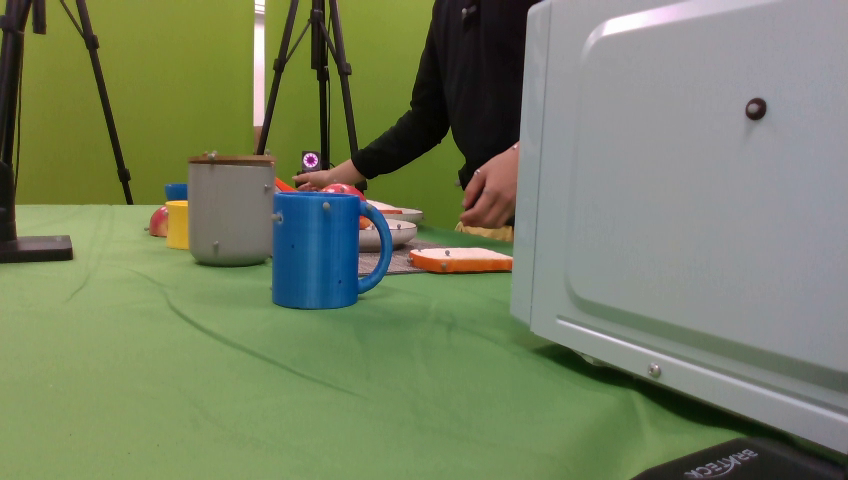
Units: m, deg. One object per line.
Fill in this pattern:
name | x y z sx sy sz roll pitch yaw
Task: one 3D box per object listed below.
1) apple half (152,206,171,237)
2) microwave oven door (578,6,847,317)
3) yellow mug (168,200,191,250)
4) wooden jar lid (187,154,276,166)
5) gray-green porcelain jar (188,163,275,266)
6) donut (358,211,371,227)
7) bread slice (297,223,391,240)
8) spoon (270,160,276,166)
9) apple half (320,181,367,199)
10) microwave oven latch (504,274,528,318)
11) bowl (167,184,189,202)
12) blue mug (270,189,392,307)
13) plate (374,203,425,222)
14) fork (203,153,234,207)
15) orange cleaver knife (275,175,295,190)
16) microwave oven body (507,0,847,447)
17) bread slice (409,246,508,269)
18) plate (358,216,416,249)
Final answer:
apple half | -0.415 -0.034 1.017 0.081 0.053 0.074 1 10 -9
microwave oven door | 0.294 -0.067 0.570 0.358 0.243 0.039 -3 9 -31
yellow mug | -0.320 -0.023 0.904 0.130 0.064 0.100 8 10 36
wooden jar lid | -0.244 -0.097 0.771 0.108 0.020 0.108 -1 7 0
gray-green porcelain jar | -0.246 -0.034 0.780 0.106 0.126 0.106 2 7 0
donut | -0.129 -0.041 0.957 0.099 0.048 0.099 2 8 0
bread slice | -0.121 -0.015 0.970 0.106 0.018 0.135 9 8 41
spoon | -0.396 -0.150 1.548 0.042 0.193 0.021 3 -37 -4
apple half | -0.128 -0.076 0.950 0.081 0.033 0.081 2 14 0
microwave oven latch | 0.100 0.041 0.471 0.079 0.029 0.030 -1 8 -28
bowl | -0.408 -0.064 1.154 0.151 0.077 0.151 2 8 0
blue mug | -0.089 0.005 0.588 0.117 0.106 0.082 1 7 -10
plate | -0.102 -0.053 1.299 0.209 0.038 0.209 2 8 0
fork | -0.480 -0.135 1.411 0.028 0.018 0.207 1 -34 0
orange cleaver knife | -0.283 -0.087 1.343 0.212 0.077 0.012 24 -16 -41
microwave oven body | 0.331 -0.042 0.425 0.444 0.260 0.324 -2 8 -31
bread slice | 0.048 0.022 0.816 0.132 0.019 0.104 0 7 -24
plate | -0.117 -0.014 0.967 0.208 0.039 0.207 2 7 0
